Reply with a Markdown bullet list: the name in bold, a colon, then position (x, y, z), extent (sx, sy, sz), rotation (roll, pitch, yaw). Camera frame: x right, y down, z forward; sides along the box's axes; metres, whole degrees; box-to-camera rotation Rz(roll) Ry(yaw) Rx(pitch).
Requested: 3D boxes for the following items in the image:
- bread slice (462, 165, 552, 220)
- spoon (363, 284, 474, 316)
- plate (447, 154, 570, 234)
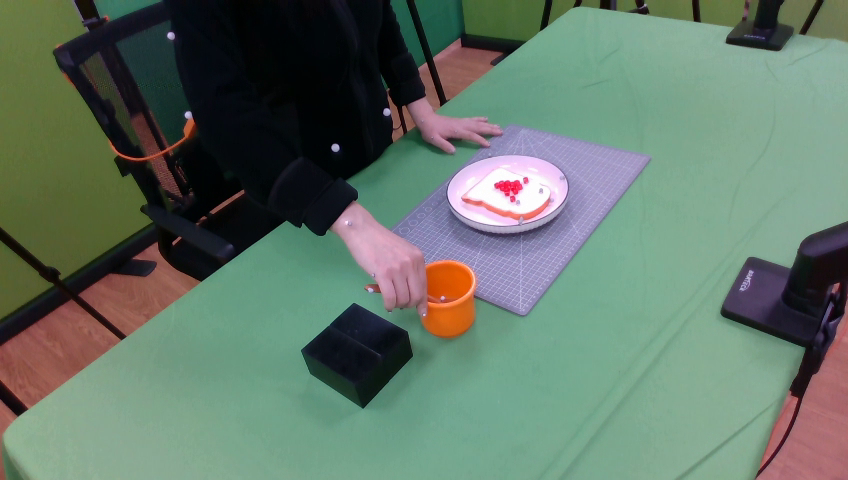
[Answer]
- **bread slice**: position (0.150, -0.079, 1.036), extent (0.133, 0.018, 0.107), rotation (22, 50, 31)
- **spoon**: position (-0.004, 0.076, 0.798), extent (0.021, 0.195, 0.041), rotation (-58, 44, 12)
- **plate**: position (0.143, -0.076, 1.032), extent (0.209, 0.038, 0.208), rotation (-5, 40, 5)
